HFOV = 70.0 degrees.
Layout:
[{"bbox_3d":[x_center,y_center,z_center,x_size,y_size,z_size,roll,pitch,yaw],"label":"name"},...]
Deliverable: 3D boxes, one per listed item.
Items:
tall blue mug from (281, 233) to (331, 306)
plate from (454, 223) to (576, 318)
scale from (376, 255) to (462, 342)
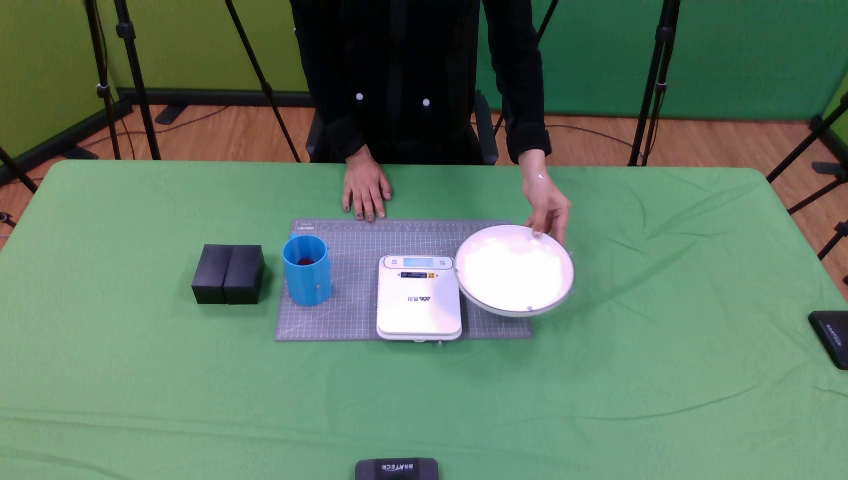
[{"bbox_3d":[-0.219,0.046,1.073,0.107,0.108,0.077,28,52,21],"label":"tall blue mug"},{"bbox_3d":[0.156,0.055,1.053,0.209,0.038,0.208,0,46,0],"label":"plate"},{"bbox_3d":[-0.010,0.096,1.094,0.149,0.032,0.199,2,46,-3],"label":"scale"}]
